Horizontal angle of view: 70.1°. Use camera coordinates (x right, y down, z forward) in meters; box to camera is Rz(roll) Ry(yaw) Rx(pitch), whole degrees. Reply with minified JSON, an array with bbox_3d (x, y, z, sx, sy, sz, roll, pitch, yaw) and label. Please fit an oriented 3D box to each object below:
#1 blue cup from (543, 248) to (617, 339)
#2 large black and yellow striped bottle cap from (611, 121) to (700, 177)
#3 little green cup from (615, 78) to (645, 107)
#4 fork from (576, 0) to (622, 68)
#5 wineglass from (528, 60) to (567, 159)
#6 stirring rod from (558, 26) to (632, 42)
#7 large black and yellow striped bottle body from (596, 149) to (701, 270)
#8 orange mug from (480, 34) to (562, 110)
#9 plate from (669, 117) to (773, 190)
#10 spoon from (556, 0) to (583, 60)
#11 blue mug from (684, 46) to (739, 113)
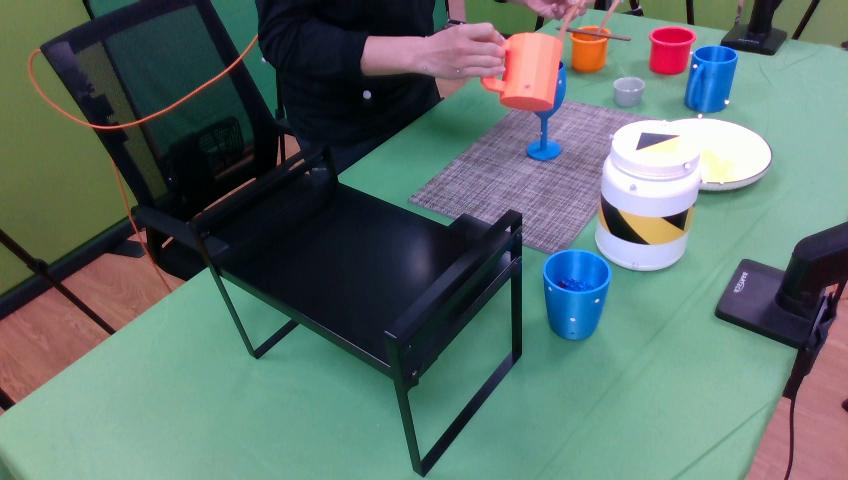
[{"bbox_3d":[0.199,0.076,0.797,0.092,0.100,0.092,-4,39,4],"label":"blue cup"},{"bbox_3d":[0.315,-0.126,0.823,0.115,0.019,0.114,-4,42,4],"label":"large black and yellow striped bottle cap"},{"bbox_3d":[0.426,-0.306,1.257,0.061,0.039,0.061,-4,40,4],"label":"little green cup"},{"bbox_3d":[0.409,-0.484,1.381,0.028,0.019,0.207,37,101,45],"label":"fork"},{"bbox_3d":[0.221,-0.236,1.097,0.074,0.173,0.073,-5,41,4],"label":"wineglass"},{"bbox_3d":[0.381,-0.462,1.356,0.175,0.006,0.014,23,48,30],"label":"stirring rod"},{"bbox_3d":[0.323,-0.062,0.877,0.131,0.185,0.130,-5,40,4],"label":"large black and yellow striped bottle body"},{"bbox_3d":[0.151,-0.265,0.944,0.127,0.100,0.083,13,-1,-18],"label":"orange mug"},{"bbox_3d":[0.495,-0.148,1.063,0.209,0.038,0.208,-5,40,4],"label":"plate"},{"bbox_3d":[0.248,-0.372,1.041,0.041,0.022,0.193,21,82,49],"label":"spoon"},{"bbox_3d":[0.556,-0.310,1.190,0.117,0.106,0.081,-32,46,-25],"label":"blue mug"}]
